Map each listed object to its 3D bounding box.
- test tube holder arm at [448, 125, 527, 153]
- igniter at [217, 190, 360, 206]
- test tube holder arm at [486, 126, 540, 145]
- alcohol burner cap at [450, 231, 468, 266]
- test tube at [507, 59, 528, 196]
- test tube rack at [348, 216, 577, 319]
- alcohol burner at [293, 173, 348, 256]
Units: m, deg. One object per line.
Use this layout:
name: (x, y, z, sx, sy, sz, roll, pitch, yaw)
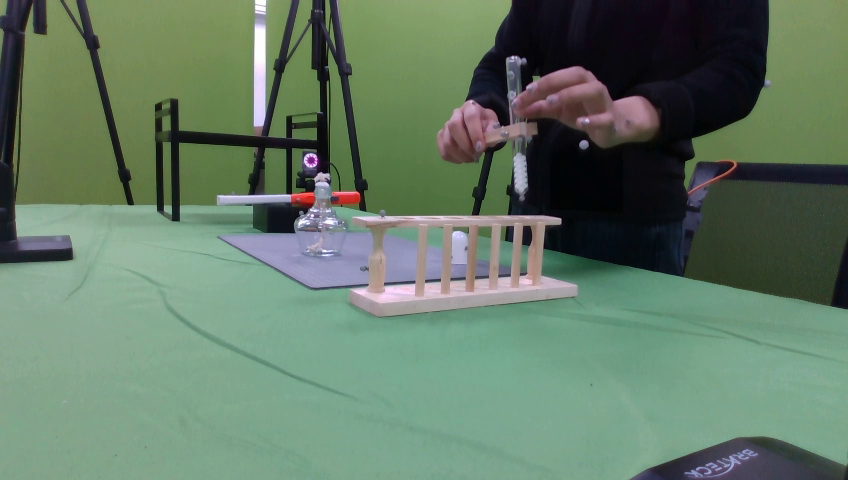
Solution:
test tube holder arm: (0.071, -0.120, 0.726, 0.013, 0.015, 0.177, -1, 2, -25)
igniter: (-0.248, -0.080, 1.150, 0.278, 0.025, 0.057, -5, 7, -29)
test tube holder arm: (0.097, -0.119, 0.690, 0.010, 0.015, 0.087, -2, 3, -36)
alcohol burner cap: (0.046, 0.012, 0.838, 0.034, 0.048, 0.034, 3, 5, 0)
test tube: (0.103, -0.123, 0.666, 0.017, 0.150, 0.017, -3, 1, 0)
test tube rack: (0.048, 0.021, 0.619, 0.244, 0.085, 0.066, -2, 9, -31)
alcohol burner: (-0.146, -0.036, 0.859, 0.078, 0.119, 0.078, 4, 8, 0)
